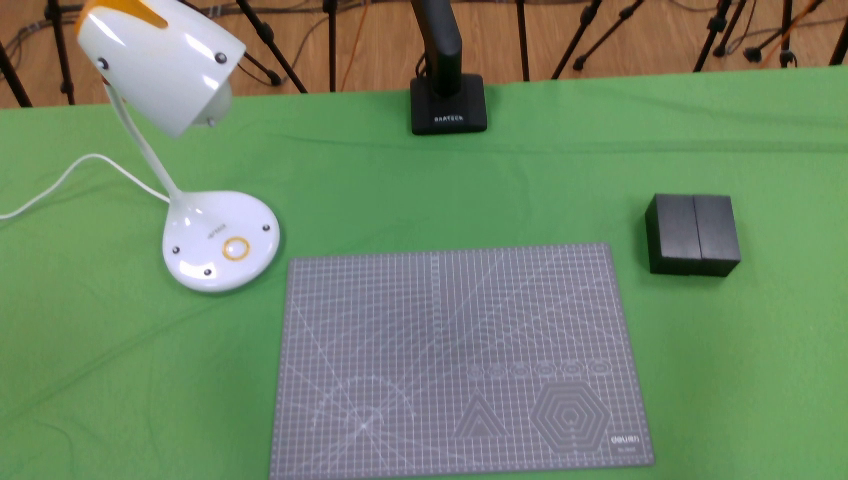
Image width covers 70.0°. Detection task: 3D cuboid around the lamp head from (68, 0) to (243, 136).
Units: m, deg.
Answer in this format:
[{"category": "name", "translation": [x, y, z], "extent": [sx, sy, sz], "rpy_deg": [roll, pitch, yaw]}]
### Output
[{"category": "lamp head", "translation": [-0.242, -0.170, 0.536], "extent": [0.124, 0.112, 0.112], "rpy_deg": [35, 61, -23]}]

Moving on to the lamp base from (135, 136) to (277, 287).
[{"category": "lamp base", "translation": [-0.303, -0.049, 0.792], "extent": [0.178, 0.182, 0.160], "rpy_deg": [27, 65, 19]}]
